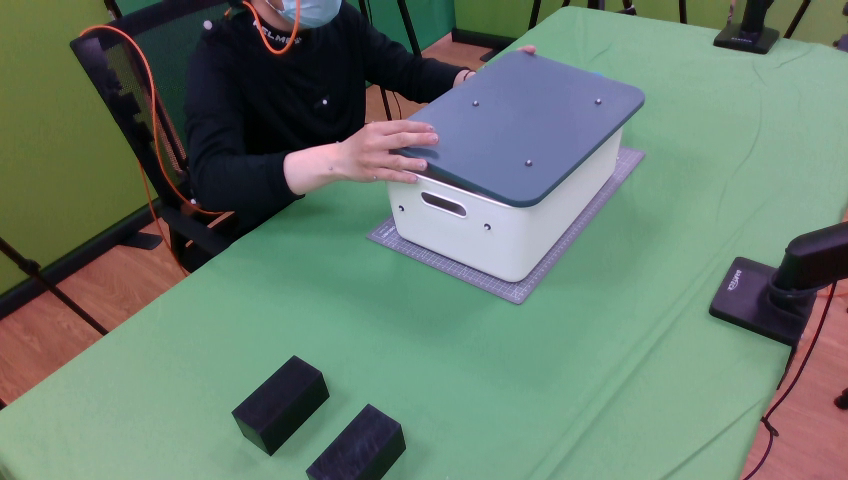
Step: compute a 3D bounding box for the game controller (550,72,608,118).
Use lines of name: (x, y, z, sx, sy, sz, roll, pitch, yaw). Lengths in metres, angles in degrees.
game controller: (0.326, -0.306, 1.260, 0.096, 0.052, 0.155, 14, 45, 17)

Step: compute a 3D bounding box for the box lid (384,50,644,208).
box lid: (0.147, -0.188, 0.921, 0.261, 0.015, 0.372, 29, 50, 27)

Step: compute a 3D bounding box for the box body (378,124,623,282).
box body: (0.137, -0.121, 0.978, 0.252, 0.161, 0.365, 22, 49, 30)
